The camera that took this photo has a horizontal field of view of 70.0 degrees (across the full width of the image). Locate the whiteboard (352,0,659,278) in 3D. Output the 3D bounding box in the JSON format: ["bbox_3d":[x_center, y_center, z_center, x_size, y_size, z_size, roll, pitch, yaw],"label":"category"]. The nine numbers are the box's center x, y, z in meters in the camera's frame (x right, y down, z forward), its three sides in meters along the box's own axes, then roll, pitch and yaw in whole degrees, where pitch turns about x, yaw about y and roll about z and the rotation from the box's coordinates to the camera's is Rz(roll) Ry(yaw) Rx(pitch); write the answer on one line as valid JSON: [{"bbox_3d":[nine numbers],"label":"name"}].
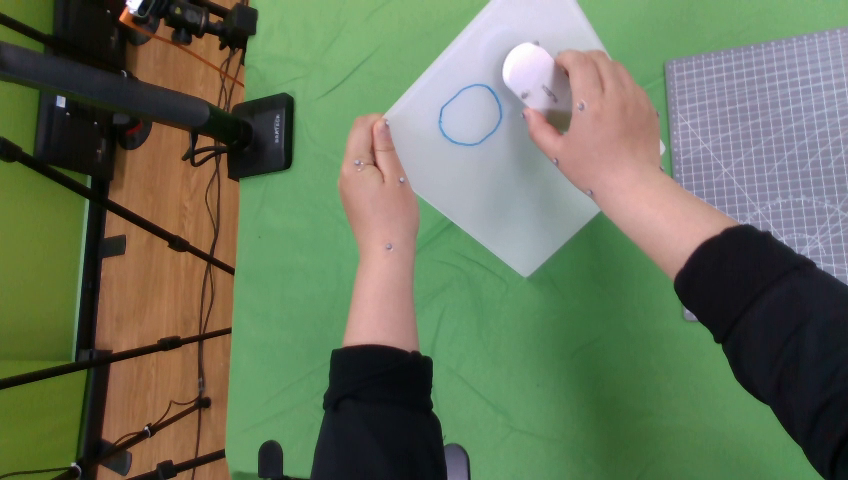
[{"bbox_3d":[0.075,-0.132,0.643,0.217,0.309,0.142,-45,46,11],"label":"whiteboard"}]

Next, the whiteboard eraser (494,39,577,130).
[{"bbox_3d":[0.098,-0.133,0.526,0.041,0.102,0.018,-48,41,10],"label":"whiteboard eraser"}]
